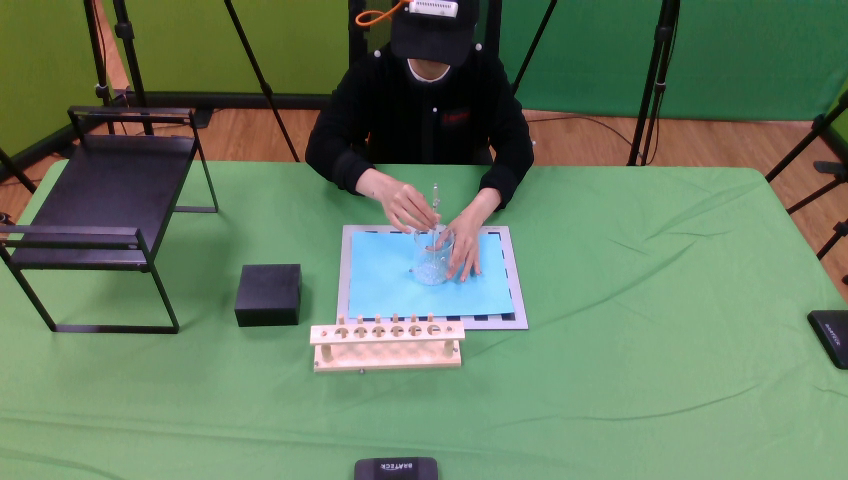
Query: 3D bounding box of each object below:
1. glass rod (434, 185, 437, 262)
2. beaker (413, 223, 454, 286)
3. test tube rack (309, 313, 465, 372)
[{"bbox_3d":[0.021,-0.025,1.078,0.008,0.201,0.008,0,49,1],"label":"glass rod"},{"bbox_3d":[0.018,0.027,1.110,0.073,0.101,0.084,36,54,27],"label":"beaker"},{"bbox_3d":[-0.059,0.161,0.990,0.242,0.085,0.066,-1,46,-5],"label":"test tube rack"}]
